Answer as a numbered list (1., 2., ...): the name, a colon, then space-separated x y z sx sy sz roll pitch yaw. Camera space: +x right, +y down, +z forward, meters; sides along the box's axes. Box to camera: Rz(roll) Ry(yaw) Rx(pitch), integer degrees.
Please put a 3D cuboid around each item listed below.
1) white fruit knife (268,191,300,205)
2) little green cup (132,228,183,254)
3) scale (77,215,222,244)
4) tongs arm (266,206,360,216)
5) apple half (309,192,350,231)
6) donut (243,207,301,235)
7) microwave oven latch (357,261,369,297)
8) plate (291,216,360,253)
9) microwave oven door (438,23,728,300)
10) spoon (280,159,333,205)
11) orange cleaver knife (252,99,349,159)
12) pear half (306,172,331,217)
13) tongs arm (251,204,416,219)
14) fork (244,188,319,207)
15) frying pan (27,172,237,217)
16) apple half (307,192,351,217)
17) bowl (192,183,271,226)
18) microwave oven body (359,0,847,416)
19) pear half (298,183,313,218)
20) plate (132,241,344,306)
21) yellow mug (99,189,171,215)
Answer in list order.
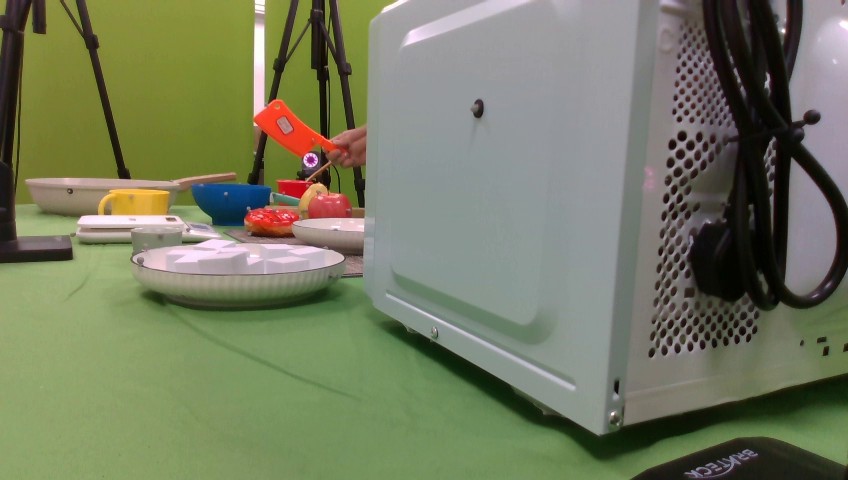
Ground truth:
1. white fruit knife: -0.364 -0.105 1.464 0.208 0.027 0.016 15 -1 -34
2. little green cup: -0.342 0.006 0.779 0.061 0.038 0.061 2 8 0
3. scale: -0.434 -0.019 0.963 0.202 0.031 0.148 -1 9 -27
4. tongs arm: -0.174 -0.061 1.363 0.387 0.026 0.050 -1 3 -31
5. apple half: -0.173 -0.055 1.125 0.081 0.081 0.033 3 10 3
6. donut: -0.261 -0.032 1.043 0.099 0.048 0.099 4 9 0
7. microwave oven latch: -0.019 0.033 0.530 0.079 0.029 0.030 -1 7 -26
8. plate: -0.103 -0.009 0.945 0.209 0.038 0.209 2 8 0
9. microwave oven door: 0.181 -0.073 0.621 0.358 0.243 0.039 -2 8 -29
10. spoon: -0.316 -0.159 1.640 0.194 0.022 0.041 -50 32 -20
11. orange cleaver knife: -0.250 -0.211 1.243 0.212 0.077 0.012 32 13 -36
12. pear half: -0.199 -0.079 1.203 0.056 0.110 0.076 1 12 3
13. tongs arm: -0.211 -0.068 1.440 0.389 0.027 0.028 1 -1 -17
14. fork: -0.356 -0.105 1.526 0.208 0.018 0.028 16 -5 -41
15. frying pan: -0.624 -0.118 1.387 0.305 0.102 0.490 8 17 32
16. apple half: -0.174 -0.048 1.087 0.081 0.074 0.053 6 11 2
17. bowl: -0.382 -0.071 1.202 0.151 0.077 0.151 3 7 0
18. microwave oven body: 0.211 -0.047 0.474 0.444 0.260 0.324 -1 7 -28
19. pear half: -0.235 -0.071 1.207 0.031 0.088 0.070 3 10 1
20. plate: -0.187 0.033 0.625 0.208 0.039 0.207 2 7 0
21. yellow mug: -0.519 -0.055 1.080 0.099 0.064 0.131 7 9 26
